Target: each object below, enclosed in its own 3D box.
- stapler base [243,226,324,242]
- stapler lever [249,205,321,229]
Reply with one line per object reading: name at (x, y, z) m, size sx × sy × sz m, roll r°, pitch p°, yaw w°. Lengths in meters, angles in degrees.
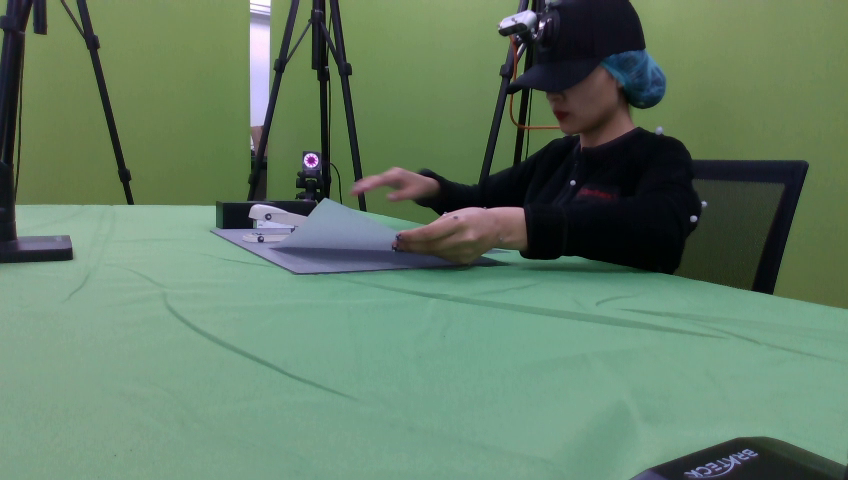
stapler base at (-0.231, -0.012, 0.996) m, size 0.131 × 0.024 × 0.041 m, roll -1°, pitch 10°, yaw -36°
stapler lever at (-0.228, -0.037, 0.994) m, size 0.119 × 0.040 × 0.026 m, roll -1°, pitch 10°, yaw -36°
